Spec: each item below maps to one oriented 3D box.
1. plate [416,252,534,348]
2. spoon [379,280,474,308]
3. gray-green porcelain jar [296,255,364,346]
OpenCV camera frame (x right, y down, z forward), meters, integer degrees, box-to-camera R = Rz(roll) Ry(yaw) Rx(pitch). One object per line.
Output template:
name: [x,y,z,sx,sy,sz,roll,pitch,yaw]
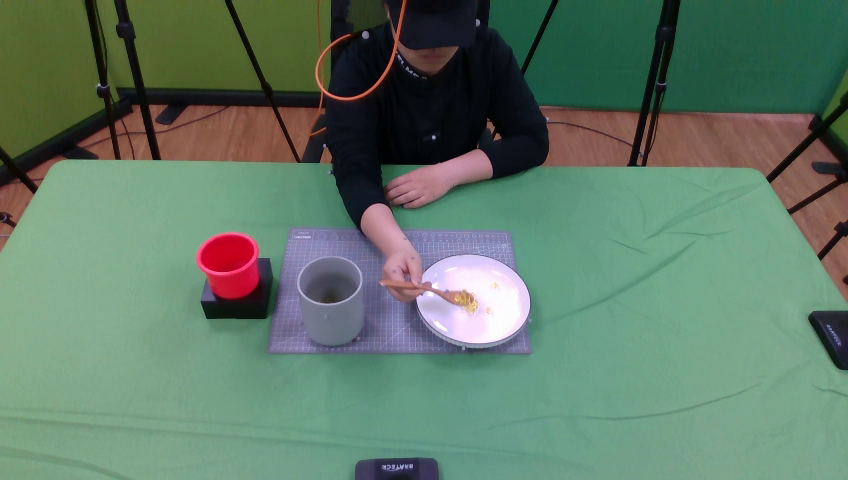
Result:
plate: [0.090,0.109,1.084,0.208,0.039,0.206,2,46,-2]
spoon: [0.007,0.084,1.003,0.195,0.021,0.041,19,26,-36]
gray-green porcelain jar: [-0.153,0.106,1.008,0.106,0.127,0.105,2,46,-2]
